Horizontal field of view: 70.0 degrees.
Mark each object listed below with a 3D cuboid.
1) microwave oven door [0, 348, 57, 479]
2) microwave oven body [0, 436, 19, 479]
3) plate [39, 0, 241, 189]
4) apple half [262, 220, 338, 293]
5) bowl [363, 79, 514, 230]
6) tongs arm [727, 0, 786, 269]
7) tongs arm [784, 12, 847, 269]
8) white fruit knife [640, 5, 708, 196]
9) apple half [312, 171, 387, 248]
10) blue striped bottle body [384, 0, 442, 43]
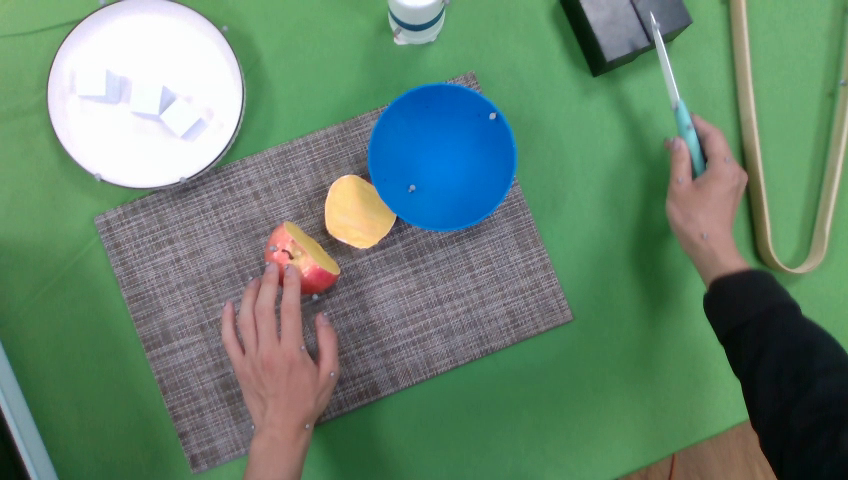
[{"bbox_3d":[-0.413,0.220,0.520,0.039,0.244,0.355,-24,89,-2],"label":"microwave oven door"},{"bbox_3d":[-0.564,0.240,0.520,0.326,0.260,0.441,-23,89,-3],"label":"microwave oven body"},{"bbox_3d":[-0.300,-0.155,0.655,0.208,0.039,0.207,0,88,-2],"label":"plate"},{"bbox_3d":[-0.135,0.024,0.631,0.080,0.075,0.053,45,96,4],"label":"apple half"},{"bbox_3d":[0.015,-0.083,0.636,0.151,0.077,0.151,0,88,-1],"label":"bowl"},{"bbox_3d":[0.365,-0.159,0.677,0.028,0.028,0.387,-5,89,-4],"label":"tongs arm"},{"bbox_3d":[0.446,-0.155,0.676,0.051,0.026,0.384,8,89,-1],"label":"tongs arm"},{"bbox_3d":[0.258,-0.141,0.628,0.016,0.027,0.208,-22,100,3],"label":"white fruit knife"},{"bbox_3d":[-0.081,-0.032,0.650,0.081,0.032,0.081,0,97,-4],"label":"apple half"},{"bbox_3d":[-0.011,-0.255,0.624,0.063,0.121,0.063,0,87,-1],"label":"blue striped bottle body"}]
